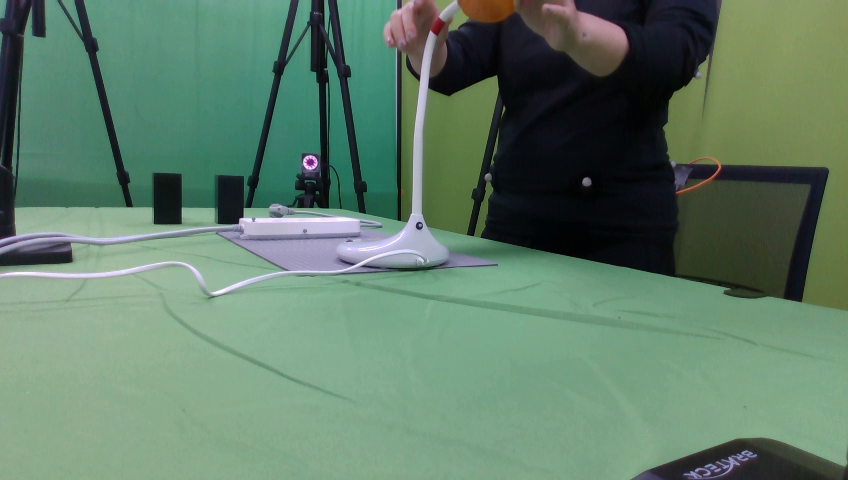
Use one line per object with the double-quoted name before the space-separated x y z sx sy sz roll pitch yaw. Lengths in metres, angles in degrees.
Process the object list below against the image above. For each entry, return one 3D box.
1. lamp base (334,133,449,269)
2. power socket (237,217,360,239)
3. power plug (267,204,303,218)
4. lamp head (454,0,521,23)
"lamp base" -0.034 -0.057 0.831 0.161 0.180 0.178 -3 12 -36
"power socket" -0.220 -0.023 1.080 0.228 0.032 0.072 -2 8 -33
"power plug" -0.327 -0.060 1.404 0.073 0.035 0.052 22 -14 -26
"lamp head" 0.074 -0.317 0.703 0.112 0.122 0.112 8 -2 1
